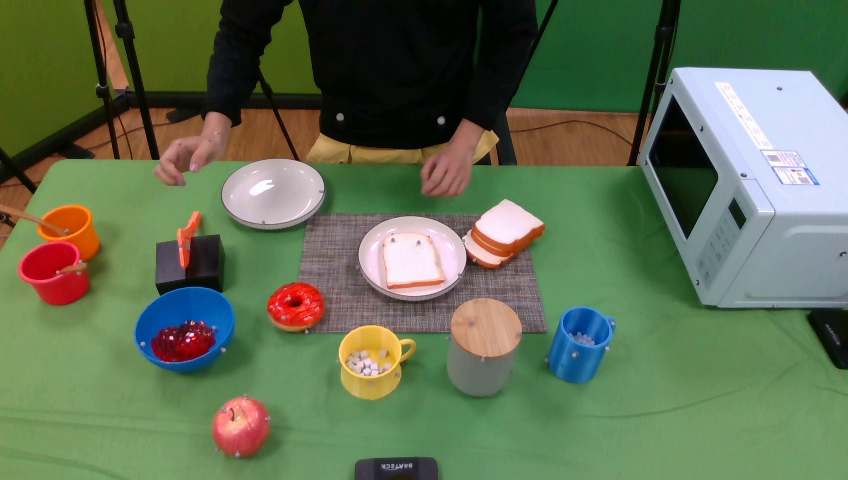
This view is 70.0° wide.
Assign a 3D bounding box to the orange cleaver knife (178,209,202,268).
[{"bbox_3d":[-0.432,-0.006,1.127,0.012,0.077,0.210,-6,18,-10],"label":"orange cleaver knife"}]

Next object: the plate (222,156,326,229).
[{"bbox_3d":[-0.307,-0.095,1.251,0.209,0.038,0.208,2,47,-2],"label":"plate"}]

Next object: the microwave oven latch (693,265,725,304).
[{"bbox_3d":[0.522,0.081,1.115,0.030,0.029,0.078,2,46,-1],"label":"microwave oven latch"}]

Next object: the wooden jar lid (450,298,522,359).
[{"bbox_3d":[0.093,0.135,0.914,0.108,0.021,0.107,3,48,-3],"label":"wooden jar lid"}]

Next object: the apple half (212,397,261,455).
[{"bbox_3d":[-0.276,0.276,0.877,0.053,0.075,0.080,-29,58,-21],"label":"apple half"}]

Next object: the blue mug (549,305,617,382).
[{"bbox_3d":[0.269,0.166,0.998,0.116,0.106,0.082,-19,51,-21],"label":"blue mug"}]

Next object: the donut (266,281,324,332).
[{"bbox_3d":[-0.222,0.114,1.049,0.099,0.048,0.098,2,46,-2],"label":"donut"}]

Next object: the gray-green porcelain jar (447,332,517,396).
[{"bbox_3d":[0.091,0.178,0.960,0.106,0.127,0.105,2,46,-2],"label":"gray-green porcelain jar"}]

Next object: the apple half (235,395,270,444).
[{"bbox_3d":[-0.245,0.259,0.893,0.033,0.082,0.081,-29,55,-22],"label":"apple half"}]

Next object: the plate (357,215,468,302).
[{"bbox_3d":[-0.022,0.037,1.141,0.208,0.039,0.206,2,46,-2],"label":"plate"}]

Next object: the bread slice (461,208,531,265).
[{"bbox_3d":[0.133,-0.004,1.194,0.104,0.019,0.131,30,51,23],"label":"bread slice"}]

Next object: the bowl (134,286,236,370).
[{"bbox_3d":[-0.377,0.155,0.981,0.151,0.077,0.150,2,46,-2],"label":"bowl"}]

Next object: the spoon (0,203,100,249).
[{"bbox_3d":[-0.683,-0.031,1.088,0.021,0.195,0.041,-35,43,25],"label":"spoon"}]

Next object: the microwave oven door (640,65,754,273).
[{"bbox_3d":[0.523,-0.147,1.193,0.039,0.245,0.353,0,47,-3],"label":"microwave oven door"}]

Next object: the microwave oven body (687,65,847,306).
[{"bbox_3d":[0.669,-0.111,1.176,0.326,0.261,0.439,0,46,-3],"label":"microwave oven body"}]

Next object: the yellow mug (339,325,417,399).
[{"bbox_3d":[-0.072,0.190,0.978,0.131,0.064,0.099,-17,50,-20],"label":"yellow mug"}]

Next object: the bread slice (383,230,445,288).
[{"bbox_3d":[-0.028,0.035,1.144,0.107,0.018,0.133,-7,48,-11],"label":"bread slice"}]

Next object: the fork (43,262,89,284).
[{"bbox_3d":[-0.599,0.053,1.013,0.207,0.019,0.028,-14,30,45],"label":"fork"}]
